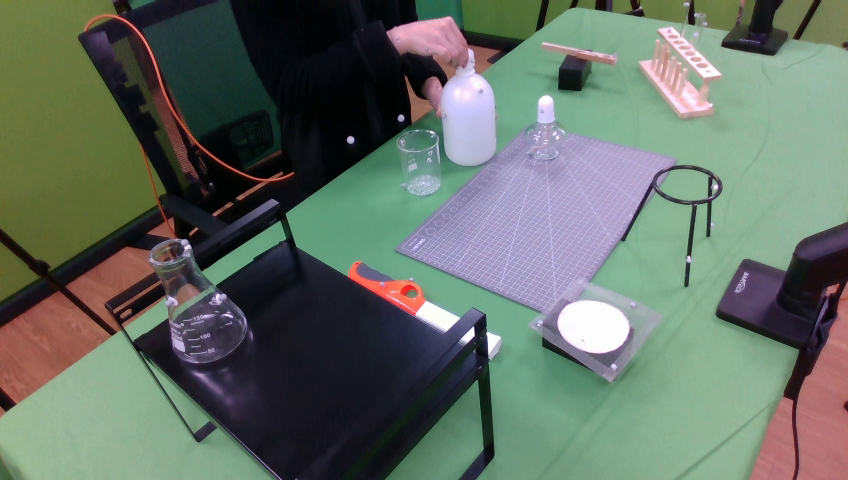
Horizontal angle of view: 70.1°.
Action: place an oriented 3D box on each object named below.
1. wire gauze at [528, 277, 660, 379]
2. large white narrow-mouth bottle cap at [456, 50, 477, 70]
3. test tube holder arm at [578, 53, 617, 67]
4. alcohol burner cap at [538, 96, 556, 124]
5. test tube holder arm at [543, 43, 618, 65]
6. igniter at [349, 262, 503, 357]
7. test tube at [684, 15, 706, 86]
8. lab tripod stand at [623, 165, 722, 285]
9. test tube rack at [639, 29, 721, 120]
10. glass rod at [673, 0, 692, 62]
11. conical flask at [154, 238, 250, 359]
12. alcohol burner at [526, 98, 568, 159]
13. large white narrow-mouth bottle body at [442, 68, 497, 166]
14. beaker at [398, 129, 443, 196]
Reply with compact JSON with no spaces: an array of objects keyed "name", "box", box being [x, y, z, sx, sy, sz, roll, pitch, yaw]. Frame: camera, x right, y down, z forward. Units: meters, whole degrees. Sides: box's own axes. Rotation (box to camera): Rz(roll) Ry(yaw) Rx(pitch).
[{"name":"wire gauze","box":[0.213,0.103,0.763,0.124,0.011,0.122,30,52,35]},{"name":"large white narrow-mouth bottle cap","box":[0.075,-0.315,1.058,0.038,0.024,0.037,-4,40,4]},{"name":"test tube holder arm","box":[0.376,-0.393,1.314,0.087,0.015,0.010,26,51,32]},{"name":"alcohol burner cap","box":[0.222,-0.237,1.095,0.034,0.048,0.033,-7,35,5]},{"name":"test tube holder arm","box":[0.344,-0.413,1.340,0.177,0.015,0.013,25,51,31]},{"name":"igniter","box":[-0.008,0.093,0.870,0.274,0.025,0.057,24,60,33]},{"name":"test tube","box":[0.541,-0.378,1.215,0.017,0.151,0.017,-2,44,3]},{"name":"lab tripod stand","box":[0.365,-0.030,0.874,0.148,0.132,0.147,-6,41,6]},{"name":"test tube rack","box":[0.527,-0.351,1.262,0.067,0.085,0.241,-8,40,1]},{"name":"glass rod","box":[0.537,-0.437,1.257,0.008,0.200,0.008,0,39,1]},{"name":"conical flask","box":[-0.225,0.055,0.597,0.075,0.122,0.075,-5,41,4]},{"name":"alcohol burner","box":[0.228,-0.210,1.118,0.078,0.119,0.077,-5,43,5]},{"name":"large white narrow-mouth bottle body","box":[0.084,-0.242,1.121,0.102,0.195,0.101,-4,40,4]},{"name":"beaker","box":[-0.002,-0.138,1.087,0.073,0.101,0.084,28,51,35]}]
